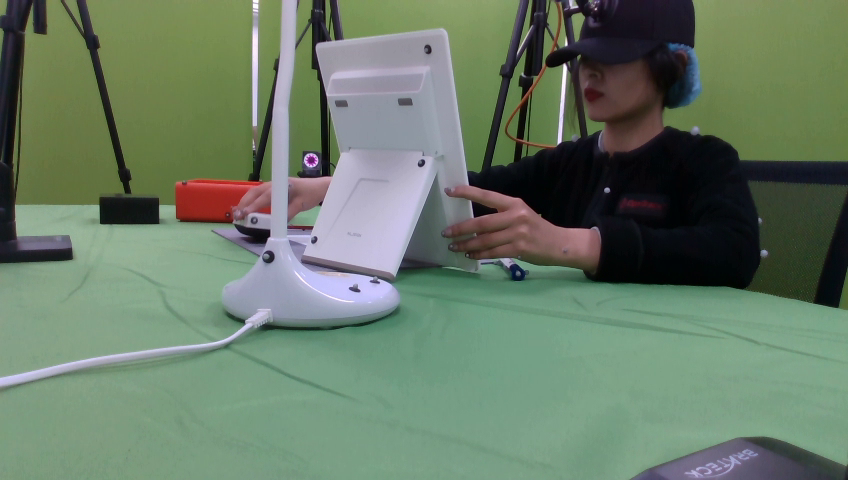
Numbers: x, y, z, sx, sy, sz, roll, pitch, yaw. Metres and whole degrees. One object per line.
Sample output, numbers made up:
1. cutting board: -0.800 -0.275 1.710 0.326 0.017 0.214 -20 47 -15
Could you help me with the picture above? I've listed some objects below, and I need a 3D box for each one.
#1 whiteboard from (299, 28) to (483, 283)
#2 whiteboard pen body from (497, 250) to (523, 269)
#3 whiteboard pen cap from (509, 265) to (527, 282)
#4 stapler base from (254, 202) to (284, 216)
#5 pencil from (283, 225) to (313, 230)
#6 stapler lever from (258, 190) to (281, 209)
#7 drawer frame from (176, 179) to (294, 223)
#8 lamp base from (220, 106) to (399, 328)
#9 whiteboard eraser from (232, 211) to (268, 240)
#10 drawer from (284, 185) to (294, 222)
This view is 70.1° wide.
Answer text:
1. whiteboard: -0.075 -0.082 0.740 0.216 0.305 0.144 9 30 39
2. whiteboard pen body: 0.116 0.032 0.810 0.017 0.017 0.140 2 8 -3
3. whiteboard pen cap: 0.116 0.040 0.751 0.018 0.018 0.033 2 10 -1
4. stapler base: -0.334 -0.069 1.307 0.041 0.024 0.130 6 6 -2
5. pencil: -0.216 -0.023 1.133 0.195 0.012 0.012 1 7 -21
6. stapler lever: -0.333 -0.091 1.305 0.027 0.040 0.118 6 9 -2
7. drawer frame: -0.395 -0.086 1.299 0.214 0.082 0.201 1 8 -9
8. lamp base: -0.101 -0.023 0.531 0.160 0.180 0.179 4 10 10
9. whiteboard eraser: -0.268 -0.023 0.968 0.056 0.042 0.112 12 -2 -29
10. drawer: -0.390 -0.084 1.301 0.212 0.073 0.194 1 8 -8
